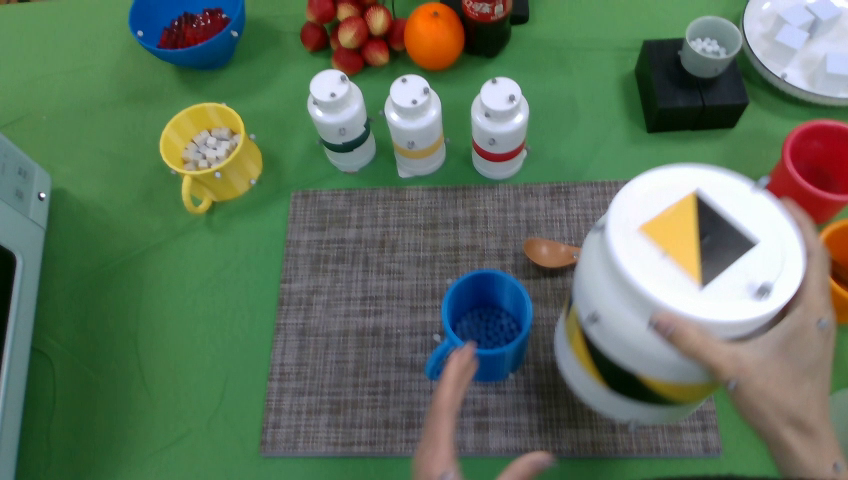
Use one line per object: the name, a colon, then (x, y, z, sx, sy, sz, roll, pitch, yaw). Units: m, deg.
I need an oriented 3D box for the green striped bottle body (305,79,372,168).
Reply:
green striped bottle body: (-0.099, -0.141, 0.702, 0.063, 0.120, 0.062, -2, 65, 4)

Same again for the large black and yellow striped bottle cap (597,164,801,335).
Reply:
large black and yellow striped bottle cap: (0.165, 0.002, 0.368, 0.115, 0.019, 0.114, -1, 57, 2)

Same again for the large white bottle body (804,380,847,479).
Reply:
large white bottle body: (0.413, 0.158, 0.484, 0.130, 0.186, 0.129, -2, 64, 4)

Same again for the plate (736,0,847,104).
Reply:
plate: (0.491, -0.249, 0.748, 0.209, 0.038, 0.207, -2, 66, 4)

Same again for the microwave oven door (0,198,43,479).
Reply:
microwave oven door: (-0.448, 0.094, 0.534, 0.039, 0.246, 0.352, -10, 65, 1)

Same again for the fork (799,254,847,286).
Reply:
fork: (0.438, 0.046, 0.554, 0.028, 0.019, 0.205, -36, 23, -12)

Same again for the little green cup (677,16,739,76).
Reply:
little green cup: (0.322, -0.220, 0.692, 0.061, 0.039, 0.061, -1, 63, 3)

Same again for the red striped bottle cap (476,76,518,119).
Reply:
red striped bottle cap: (0.077, -0.150, 0.633, 0.044, 0.018, 0.044, 0, 63, 1)

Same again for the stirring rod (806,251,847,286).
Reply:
stirring rod: (0.409, 0.046, 0.565, 0.014, 0.006, 0.175, 1, 22, 2)

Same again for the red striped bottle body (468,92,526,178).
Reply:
red striped bottle body: (0.081, -0.127, 0.681, 0.063, 0.120, 0.062, -2, 64, 4)

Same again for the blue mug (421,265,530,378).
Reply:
blue mug: (0.045, 0.092, 0.586, 0.116, 0.107, 0.081, -36, 67, -12)

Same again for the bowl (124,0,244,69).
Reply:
bowl: (-0.304, -0.283, 0.808, 0.151, 0.077, 0.150, -2, 65, 4)

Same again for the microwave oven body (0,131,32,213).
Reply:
microwave oven body: (-0.597, 0.084, 0.557, 0.326, 0.262, 0.438, -10, 65, 0)

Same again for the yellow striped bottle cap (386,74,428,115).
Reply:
yellow striped bottle cap: (-0.018, -0.155, 0.644, 0.044, 0.019, 0.044, 0, 61, 0)

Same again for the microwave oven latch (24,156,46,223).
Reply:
microwave oven latch: (-0.471, -0.058, 0.719, 0.030, 0.030, 0.078, -8, 65, 0)

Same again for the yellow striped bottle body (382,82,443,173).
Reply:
yellow striped bottle body: (-0.013, -0.133, 0.691, 0.063, 0.121, 0.062, -2, 64, 4)

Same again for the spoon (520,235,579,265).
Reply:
spoon: (0.201, 0.014, 0.655, 0.193, 0.022, 0.041, 2, 44, 5)

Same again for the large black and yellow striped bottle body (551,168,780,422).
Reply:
large black and yellow striped bottle body: (0.169, 0.045, 0.440, 0.131, 0.185, 0.129, -1, 58, 2)

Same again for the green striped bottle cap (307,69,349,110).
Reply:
green striped bottle cap: (-0.104, -0.163, 0.655, 0.044, 0.020, 0.044, -2, 63, 4)

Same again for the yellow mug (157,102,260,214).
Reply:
yellow mug: (-0.260, -0.092, 0.723, 0.100, 0.064, 0.130, 8, 67, 8)
